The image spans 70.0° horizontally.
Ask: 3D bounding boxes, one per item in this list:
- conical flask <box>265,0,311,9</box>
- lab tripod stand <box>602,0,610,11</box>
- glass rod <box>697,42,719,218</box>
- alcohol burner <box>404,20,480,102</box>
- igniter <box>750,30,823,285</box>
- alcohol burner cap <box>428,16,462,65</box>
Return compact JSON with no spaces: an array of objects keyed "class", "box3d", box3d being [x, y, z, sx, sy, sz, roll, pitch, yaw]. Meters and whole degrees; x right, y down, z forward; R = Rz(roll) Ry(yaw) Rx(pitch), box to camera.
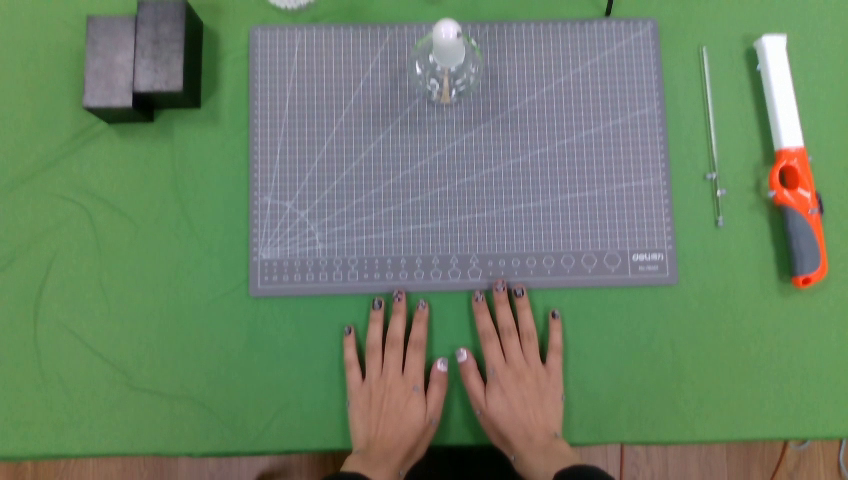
[{"class":"conical flask","box3d":[-0.149,-0.297,0.614,0.075,0.122,0.075,0,83,-1]},{"class":"lab tripod stand","box3d":[0.156,-0.319,0.617,0.148,0.131,0.148,0,85,0]},{"class":"glass rod","box3d":[0.310,-0.122,0.661,0.008,0.008,0.199,-2,83,-1]},{"class":"alcohol burner","box3d":[0.019,-0.185,0.607,0.078,0.119,0.077,0,81,-2]},{"class":"igniter","box3d":[0.388,-0.090,0.649,0.057,0.025,0.275,-4,84,-12]},{"class":"alcohol burner cap","box3d":[0.019,-0.192,0.571,0.034,0.048,0.033,-1,78,4]}]
